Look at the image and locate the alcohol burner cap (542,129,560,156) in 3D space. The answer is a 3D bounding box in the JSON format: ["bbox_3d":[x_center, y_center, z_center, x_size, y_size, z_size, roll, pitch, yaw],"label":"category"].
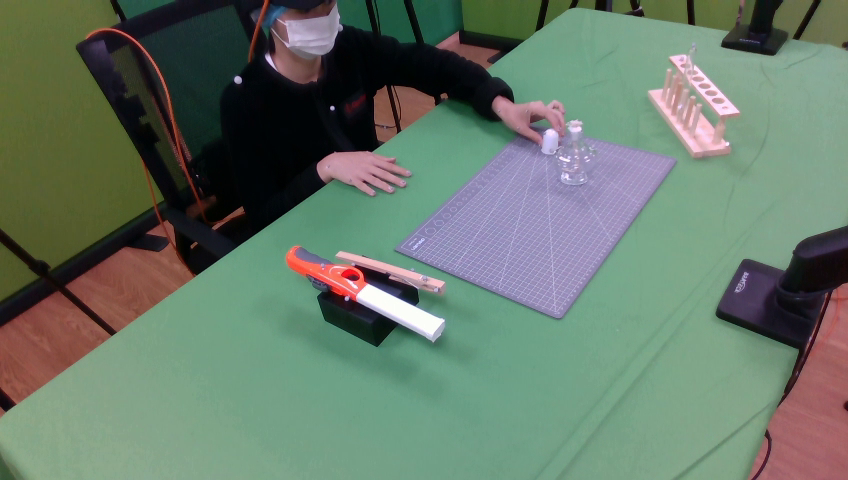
[{"bbox_3d":[0.240,-0.185,1.137,0.034,0.048,0.033,-3,38,3],"label":"alcohol burner cap"}]

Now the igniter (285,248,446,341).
[{"bbox_3d":[-0.091,0.069,0.831,0.274,0.025,0.057,22,47,27],"label":"igniter"}]

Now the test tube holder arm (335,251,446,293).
[{"bbox_3d":[-0.050,0.043,0.853,0.177,0.013,0.015,17,39,24],"label":"test tube holder arm"}]

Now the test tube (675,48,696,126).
[{"bbox_3d":[0.481,-0.279,1.112,0.017,0.151,0.017,-5,40,5],"label":"test tube"}]

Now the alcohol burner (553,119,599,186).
[{"bbox_3d":[0.261,-0.153,1.042,0.078,0.119,0.077,-6,40,6],"label":"alcohol burner"}]

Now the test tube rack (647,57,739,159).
[{"bbox_3d":[0.504,-0.257,1.153,0.067,0.085,0.241,-8,40,1],"label":"test tube rack"}]

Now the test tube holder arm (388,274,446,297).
[{"bbox_3d":[-0.011,0.060,0.838,0.087,0.010,0.015,18,40,24],"label":"test tube holder arm"}]
